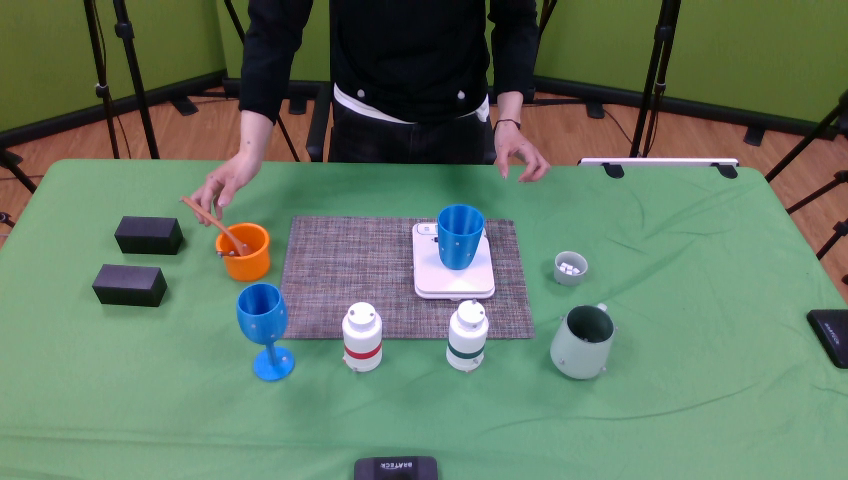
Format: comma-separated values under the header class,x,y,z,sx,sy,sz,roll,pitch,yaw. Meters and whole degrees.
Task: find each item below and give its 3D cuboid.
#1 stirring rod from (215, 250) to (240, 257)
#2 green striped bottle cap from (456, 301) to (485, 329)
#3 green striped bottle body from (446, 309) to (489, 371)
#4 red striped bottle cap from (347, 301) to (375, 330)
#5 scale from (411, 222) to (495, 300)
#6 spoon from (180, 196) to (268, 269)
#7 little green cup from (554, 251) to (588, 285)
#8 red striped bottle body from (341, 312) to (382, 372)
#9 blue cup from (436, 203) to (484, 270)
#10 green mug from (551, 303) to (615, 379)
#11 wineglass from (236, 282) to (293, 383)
class,x,y,z,sx,sy,sz,roll,pitch,yaw
stirring rod,-0.340,0.024,1.059,0.014,0.176,0.006,16,86,-6
green striped bottle cap,0.073,0.116,0.943,0.044,0.020,0.044,3,46,-3
green striped bottle body,0.070,0.155,0.984,0.063,0.120,0.063,2,46,-2
red striped bottle cap,-0.097,0.116,0.934,0.044,0.018,0.044,2,49,-2
scale,0.052,0.031,1.158,0.149,0.032,0.199,1,46,-4
spoon,-0.359,-0.014,1.094,0.021,0.194,0.041,-28,26,30
little green cup,0.276,0.055,1.151,0.061,0.039,0.061,1,46,-1
red striped bottle body,-0.100,0.154,0.972,0.063,0.120,0.062,2,46,-1
blue cup,0.061,-0.001,1.098,0.093,0.101,0.092,2,43,-2
green mug,0.271,0.157,1.007,0.092,0.105,0.125,27,50,21
wineglass,-0.243,0.143,0.934,0.074,0.173,0.073,2,46,-2
